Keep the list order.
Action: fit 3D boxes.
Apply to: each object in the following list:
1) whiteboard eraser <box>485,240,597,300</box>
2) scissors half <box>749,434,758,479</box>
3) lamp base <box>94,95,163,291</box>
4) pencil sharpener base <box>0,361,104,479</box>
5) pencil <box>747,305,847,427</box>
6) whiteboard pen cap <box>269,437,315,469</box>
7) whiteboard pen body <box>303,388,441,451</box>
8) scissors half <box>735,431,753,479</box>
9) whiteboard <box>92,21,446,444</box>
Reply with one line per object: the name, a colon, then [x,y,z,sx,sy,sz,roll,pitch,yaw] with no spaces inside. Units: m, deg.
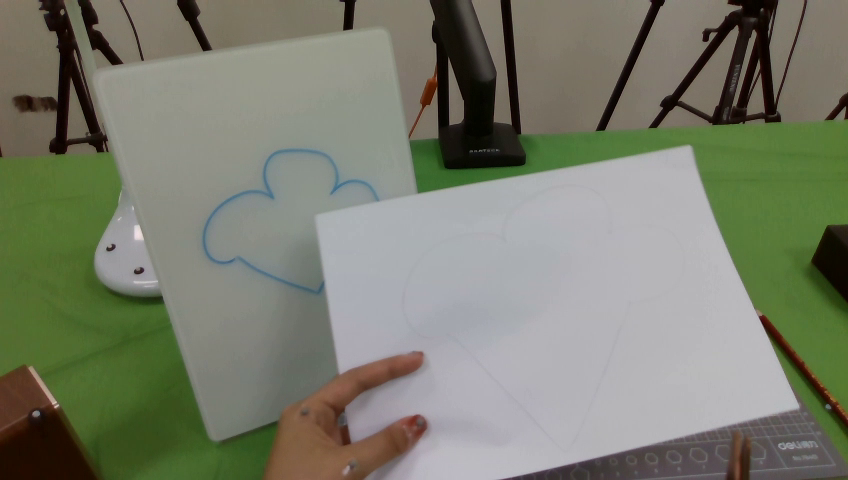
whiteboard eraser: [0.125,0.033,0.644,0.112,0.042,0.055,8,39,12]
scissors half: [0.149,0.177,0.306,0.013,0.176,0.040,6,15,4]
lamp base: [-0.306,-0.061,0.663,0.177,0.182,0.160,22,42,32]
pencil sharpener base: [-0.292,0.154,0.433,0.061,0.108,0.077,30,47,34]
pencil: [0.350,0.121,0.553,0.012,0.012,0.192,-5,35,-5]
whiteboard pen cap: [-0.104,0.168,0.480,0.033,0.018,0.018,-17,39,-18]
whiteboard pen body: [-0.051,0.151,0.499,0.141,0.017,0.017,-15,39,-19]
scissors half: [0.148,0.179,0.285,0.013,0.174,0.040,6,-6,-1]
whiteboard: [-0.126,-0.018,0.547,0.218,0.307,0.142,-16,20,-18]
